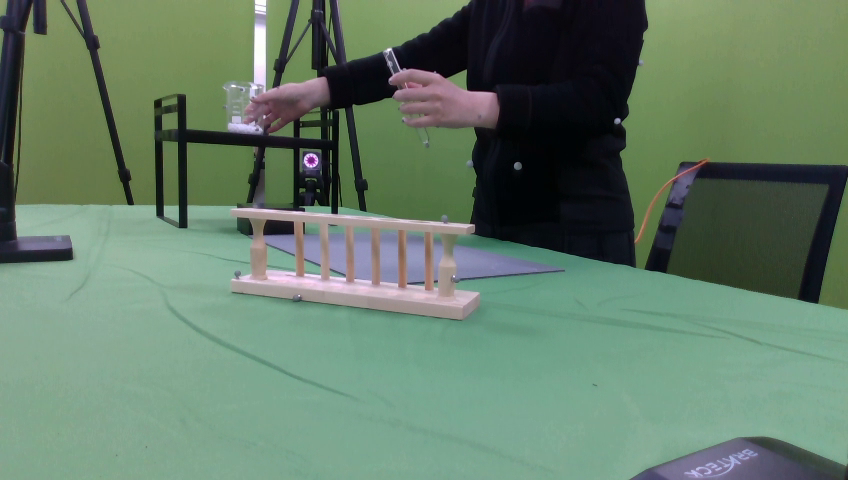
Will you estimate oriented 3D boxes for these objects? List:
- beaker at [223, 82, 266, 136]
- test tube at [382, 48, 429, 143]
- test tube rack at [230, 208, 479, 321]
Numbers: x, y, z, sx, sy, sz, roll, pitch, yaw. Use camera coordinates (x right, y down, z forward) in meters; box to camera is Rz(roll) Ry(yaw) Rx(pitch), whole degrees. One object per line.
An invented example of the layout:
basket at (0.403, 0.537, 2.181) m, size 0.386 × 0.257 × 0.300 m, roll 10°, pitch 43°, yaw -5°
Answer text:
beaker at (-0.362, -0.262, 1.214) m, size 0.084 × 0.100 × 0.074 m, roll 2°, pitch 7°, yaw -1°
test tube at (-0.027, -0.219, 0.920) m, size 0.017 × 0.150 × 0.017 m, roll -22°, pitch 14°, yaw 6°
test tube rack at (-0.069, 0.017, 0.598) m, size 0.242 × 0.085 × 0.067 m, roll 5°, pitch 8°, yaw 18°
